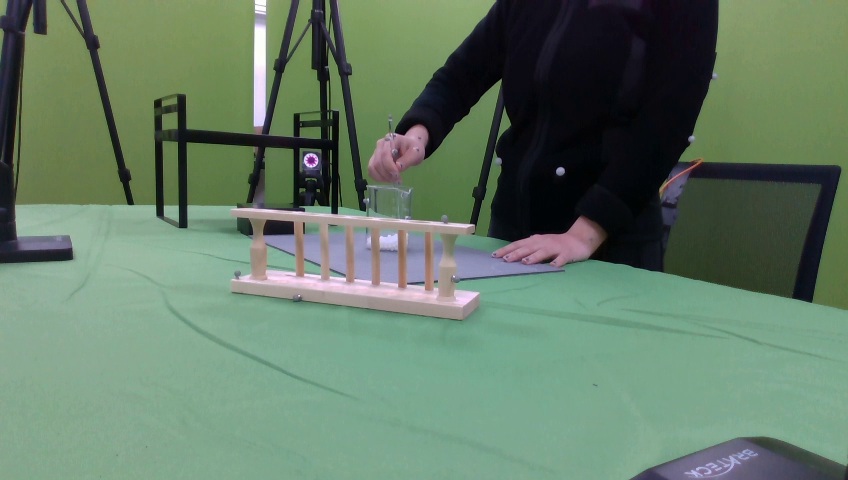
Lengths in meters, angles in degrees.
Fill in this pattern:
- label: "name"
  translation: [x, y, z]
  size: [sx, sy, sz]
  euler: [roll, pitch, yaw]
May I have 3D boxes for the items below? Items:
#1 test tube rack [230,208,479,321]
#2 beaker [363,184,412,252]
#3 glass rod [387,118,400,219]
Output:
- label: "test tube rack"
  translation: [-0.069, 0.017, 0.598]
  size: [0.242, 0.085, 0.067]
  euler: [5, 8, 18]
- label: "beaker"
  translation: [-0.055, -0.034, 0.935]
  size: [0.074, 0.100, 0.083]
  euler: [-5, 11, -44]
- label: "glass rod"
  translation: [-0.045, -0.087, 0.930]
  size: [0.008, 0.199, 0.008]
  euler: [-5, 8, 1]
